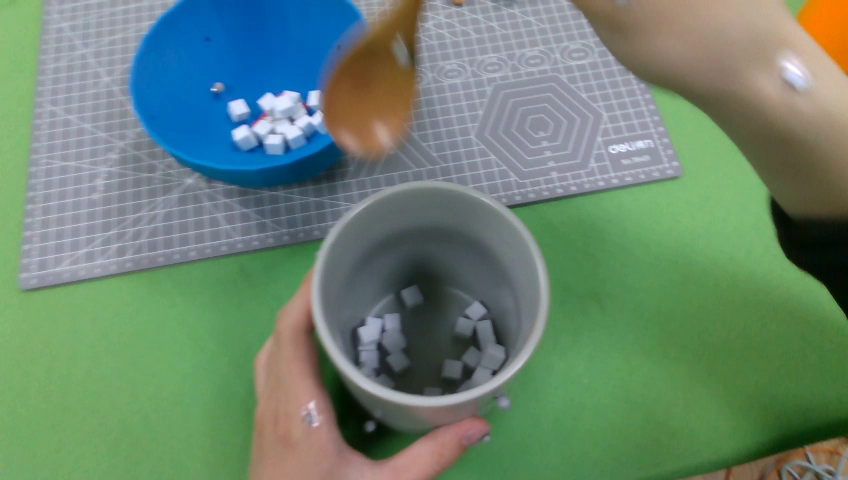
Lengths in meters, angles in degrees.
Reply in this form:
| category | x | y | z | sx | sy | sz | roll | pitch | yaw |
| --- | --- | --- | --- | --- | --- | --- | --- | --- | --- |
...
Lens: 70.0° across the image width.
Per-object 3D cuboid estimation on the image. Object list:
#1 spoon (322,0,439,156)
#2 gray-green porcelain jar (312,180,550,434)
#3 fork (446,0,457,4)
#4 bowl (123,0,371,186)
| category | x | y | z | sx | sy | sz | roll | pitch | yaw |
| --- | --- | --- | --- | --- | --- | --- | --- | --- | --- |
| spoon | 0.006 | -0.094 | 0.209 | 0.042 | 0.194 | 0.021 | 18 | 55 | -17 |
| gray-green porcelain jar | 0.003 | 0.044 | 0.320 | 0.106 | 0.127 | 0.105 | 0 | 66 | 0 |
| fork | -0.001 | -0.290 | 0.487 | 0.028 | 0.018 | 0.207 | -13 | 86 | -12 |
| bowl | -0.105 | -0.091 | 0.399 | 0.151 | 0.077 | 0.150 | 0 | 67 | -1 |
